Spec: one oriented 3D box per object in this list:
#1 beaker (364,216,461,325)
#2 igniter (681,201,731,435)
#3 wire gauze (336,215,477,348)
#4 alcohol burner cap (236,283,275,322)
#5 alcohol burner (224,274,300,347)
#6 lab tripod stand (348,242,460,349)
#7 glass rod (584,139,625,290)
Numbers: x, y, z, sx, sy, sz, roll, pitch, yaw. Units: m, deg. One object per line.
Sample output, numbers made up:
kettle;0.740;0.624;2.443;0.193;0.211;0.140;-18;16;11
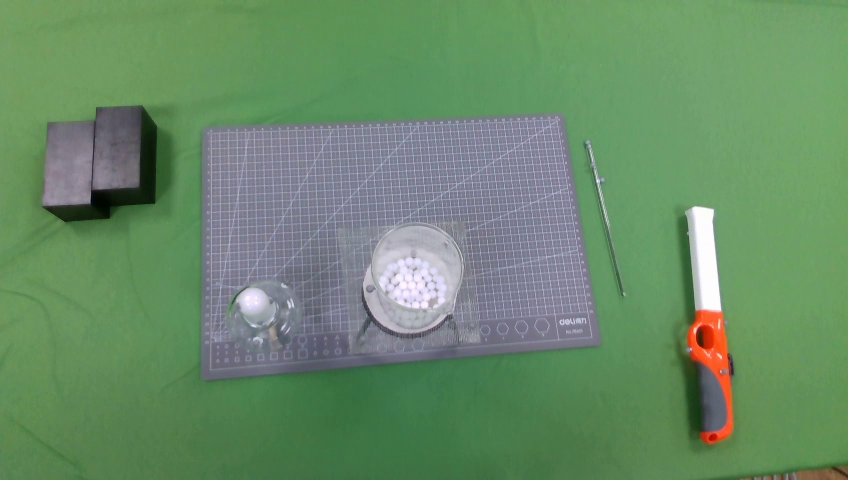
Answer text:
beaker;-0.009;0.034;0.522;0.074;0.100;0.083;-36;79;-14
igniter;0.331;0.087;0.717;0.057;0.025;0.275;7;74;-15
wire gauze;-0.017;0.037;0.571;0.125;0.011;0.120;-5;73;-5
alcohol burner cap;-0.166;0.059;0.591;0.034;0.048;0.033;1;70;-3
alcohol burner;-0.170;0.069;0.626;0.078;0.119;0.077;2;72;-5
lab tripod stand;-0.023;0.059;0.633;0.148;0.132;0.147;1;73;-3
glass rod;0.223;-0.035;0.750;0.008;0.008;0.198;-7;75;-8
